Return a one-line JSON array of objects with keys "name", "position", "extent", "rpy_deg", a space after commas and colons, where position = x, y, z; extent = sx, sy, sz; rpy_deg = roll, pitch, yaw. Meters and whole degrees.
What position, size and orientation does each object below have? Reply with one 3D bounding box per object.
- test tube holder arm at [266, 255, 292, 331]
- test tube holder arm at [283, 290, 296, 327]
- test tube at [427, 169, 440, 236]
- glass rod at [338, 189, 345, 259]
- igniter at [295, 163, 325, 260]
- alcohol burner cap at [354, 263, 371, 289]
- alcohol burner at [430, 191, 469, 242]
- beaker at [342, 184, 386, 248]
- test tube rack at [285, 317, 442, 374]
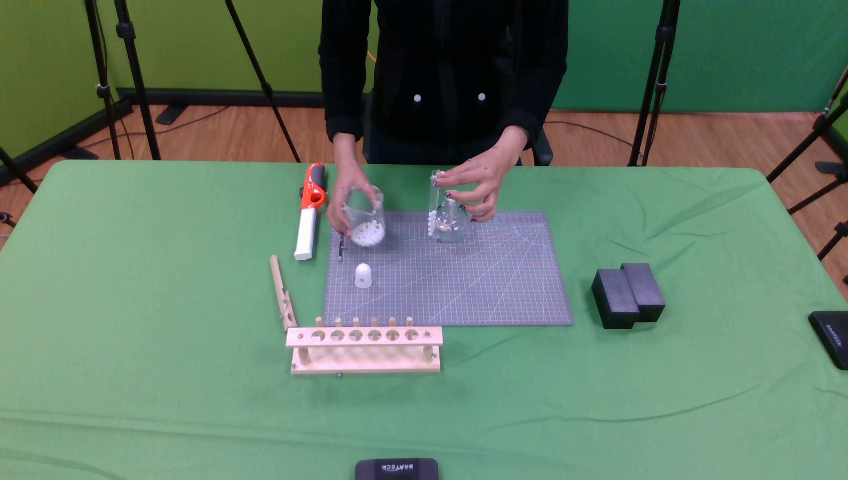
[{"name": "test tube holder arm", "position": [-0.262, 0.091, 1.092], "extent": [0.013, 0.015, 0.177], "rpy_deg": [15, 34, -40]}, {"name": "test tube holder arm", "position": [-0.241, 0.123, 1.067], "extent": [0.010, 0.015, 0.087], "rpy_deg": [16, 33, -39]}, {"name": "test tube", "position": [0.015, -0.060, 1.040], "extent": [0.017, 0.151, 0.017], "rpy_deg": [2, 48, -2]}, {"name": "glass rod", "position": [-0.166, -0.037, 1.226], "extent": [0.008, 0.008, 0.198], "rpy_deg": [-1, 47, -4]}, {"name": "igniter", "position": [-0.233, -0.067, 1.243], "extent": [0.057, 0.025, 0.274], "rpy_deg": [-6, 46, 4]}, {"name": "alcohol burner cap", "position": [-0.113, 0.063, 1.111], "extent": [0.034, 0.048, 0.033], "rpy_deg": [2, 45, -2]}, {"name": "alcohol burner", "position": [0.051, -0.053, 1.185], "extent": [0.078, 0.119, 0.077], "rpy_deg": [2, 48, -2]}, {"name": "beaker", "position": [-0.107, -0.040, 1.129], "extent": [0.074, 0.101, 0.083], "rpy_deg": [-21, 49, -18]}, {"name": "test tube rack", "position": [-0.095, 0.166, 0.988], "extent": [0.242, 0.085, 0.066], "rpy_deg": [0, 46, -4]}]
